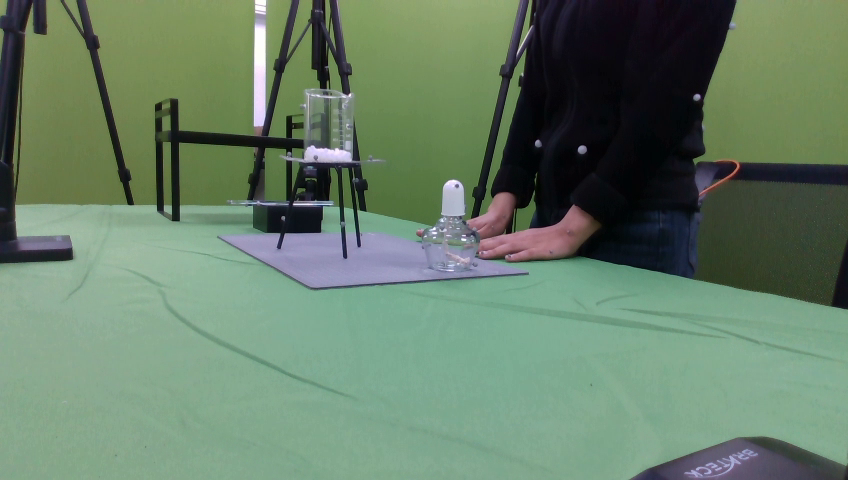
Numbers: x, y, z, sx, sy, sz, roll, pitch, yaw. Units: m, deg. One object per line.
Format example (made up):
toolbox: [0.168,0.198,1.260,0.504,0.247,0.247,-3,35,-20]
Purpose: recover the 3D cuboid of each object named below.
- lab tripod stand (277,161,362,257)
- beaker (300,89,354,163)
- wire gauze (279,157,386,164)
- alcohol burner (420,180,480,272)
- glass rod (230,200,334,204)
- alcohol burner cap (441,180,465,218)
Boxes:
lab tripod stand: [-0.143,-0.049,0.884,0.148,0.131,0.148,1,9,0]
beaker: [-0.137,-0.161,0.869,0.083,0.100,0.074,9,10,42]
wire gauze: [-0.134,-0.113,0.875,0.122,0.011,0.124,-1,6,-30]
alcohol burner: [0.035,-0.018,0.785,0.078,0.119,0.078,4,6,0]
glass rod: [-0.265,-0.071,1.144,0.201,0.008,0.008,-1,8,-31]
alcohol burner cap: [0.038,-0.054,0.781,0.034,0.048,0.034,0,13,0]
